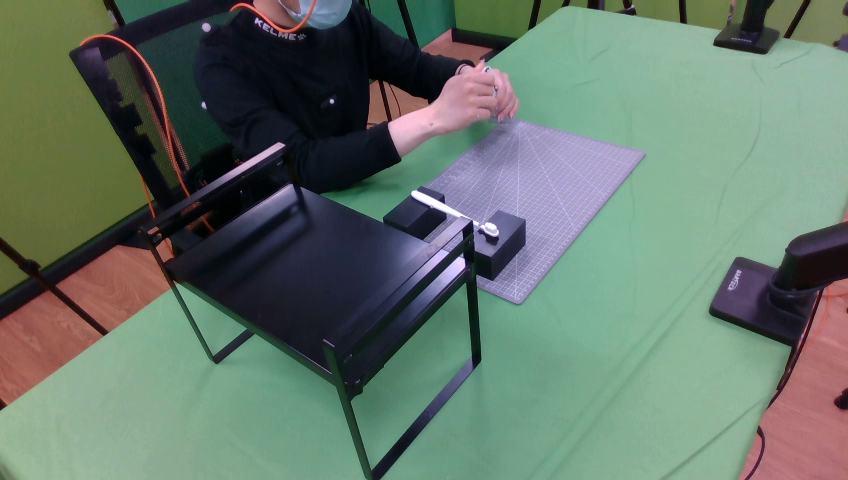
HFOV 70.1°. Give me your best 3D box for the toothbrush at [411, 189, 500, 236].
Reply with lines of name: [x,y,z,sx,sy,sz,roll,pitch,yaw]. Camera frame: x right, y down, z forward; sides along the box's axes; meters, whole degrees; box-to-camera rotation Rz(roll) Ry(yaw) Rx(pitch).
toothbrush: [0.045,-0.046,0.940,0.180,0.017,0.014,28,67,36]

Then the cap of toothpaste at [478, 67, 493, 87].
cap of toothpaste: [0.106,-0.287,1.058,0.011,0.037,0.037,35,55,25]

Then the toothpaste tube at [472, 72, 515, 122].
toothpaste tube: [0.128,-0.267,1.145,0.055,0.166,0.034,9,75,25]
